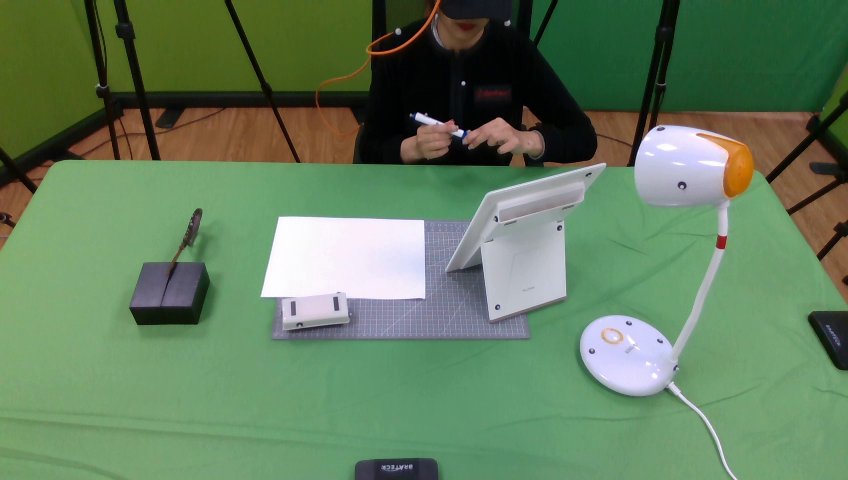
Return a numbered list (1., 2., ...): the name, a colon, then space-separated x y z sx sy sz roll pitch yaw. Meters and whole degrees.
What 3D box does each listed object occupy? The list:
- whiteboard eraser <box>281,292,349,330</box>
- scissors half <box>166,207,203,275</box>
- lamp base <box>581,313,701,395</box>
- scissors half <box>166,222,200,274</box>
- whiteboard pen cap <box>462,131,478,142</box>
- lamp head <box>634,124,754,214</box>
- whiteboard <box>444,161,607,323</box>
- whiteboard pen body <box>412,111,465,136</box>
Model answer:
1. whiteboard eraser: -0.189 0.124 1.045 0.113 0.042 0.055 -6 46 -10
2. scissors half: -0.436 0.000 1.104 0.013 0.040 0.174 21 44 -14
3. lamp base: 0.361 0.144 0.972 0.178 0.181 0.160 34 53 23
4. scissors half: -0.444 0.014 1.116 0.013 0.040 0.174 17 27 -10
5. whiteboard pen cap: 0.097 -0.221 1.288 0.033 0.018 0.018 19 47 3
6. lamp head: 0.351 -0.089 0.775 0.112 0.113 0.122 -30 30 -28
7. whiteboard: 0.186 0.025 1.029 0.217 0.306 0.143 -14 68 -18
8. whiteboard pen body: 0.042 -0.245 1.293 0.140 0.017 0.017 22 48 5
